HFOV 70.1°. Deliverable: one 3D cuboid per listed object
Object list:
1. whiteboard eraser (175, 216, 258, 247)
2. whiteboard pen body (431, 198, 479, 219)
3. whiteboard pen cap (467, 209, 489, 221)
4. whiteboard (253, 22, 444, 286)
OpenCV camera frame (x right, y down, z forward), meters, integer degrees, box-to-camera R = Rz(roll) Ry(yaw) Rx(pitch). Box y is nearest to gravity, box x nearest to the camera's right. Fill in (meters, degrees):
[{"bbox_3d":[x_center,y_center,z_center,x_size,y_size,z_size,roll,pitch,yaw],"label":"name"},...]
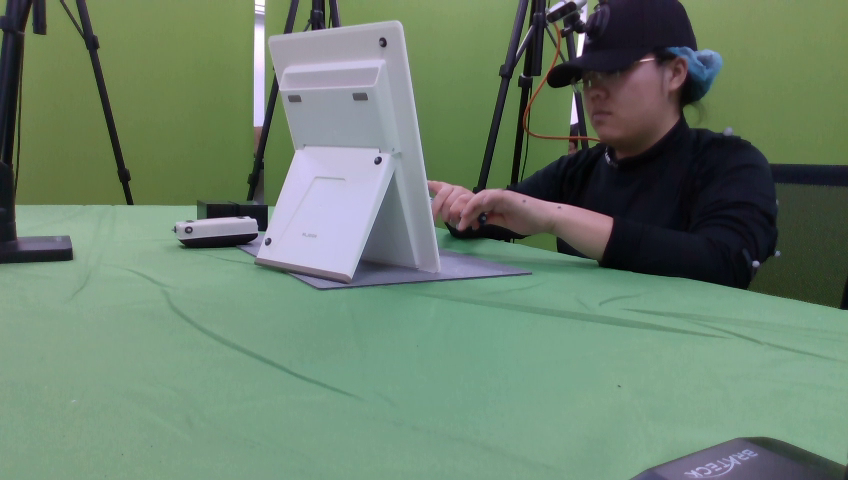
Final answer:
[{"bbox_3d":[-0.314,-0.012,0.915,0.113,0.042,0.055,-5,12,-30],"label":"whiteboard eraser"},{"bbox_3d":[0.044,-0.050,0.973,0.017,0.017,0.140,-3,15,-36],"label":"whiteboard pen body"},{"bbox_3d":[0.083,-0.038,0.924,0.033,0.018,0.018,6,8,8],"label":"whiteboard pen cap"},{"bbox_3d":[-0.125,-0.081,0.715,0.216,0.305,0.144,9,29,36],"label":"whiteboard"}]
